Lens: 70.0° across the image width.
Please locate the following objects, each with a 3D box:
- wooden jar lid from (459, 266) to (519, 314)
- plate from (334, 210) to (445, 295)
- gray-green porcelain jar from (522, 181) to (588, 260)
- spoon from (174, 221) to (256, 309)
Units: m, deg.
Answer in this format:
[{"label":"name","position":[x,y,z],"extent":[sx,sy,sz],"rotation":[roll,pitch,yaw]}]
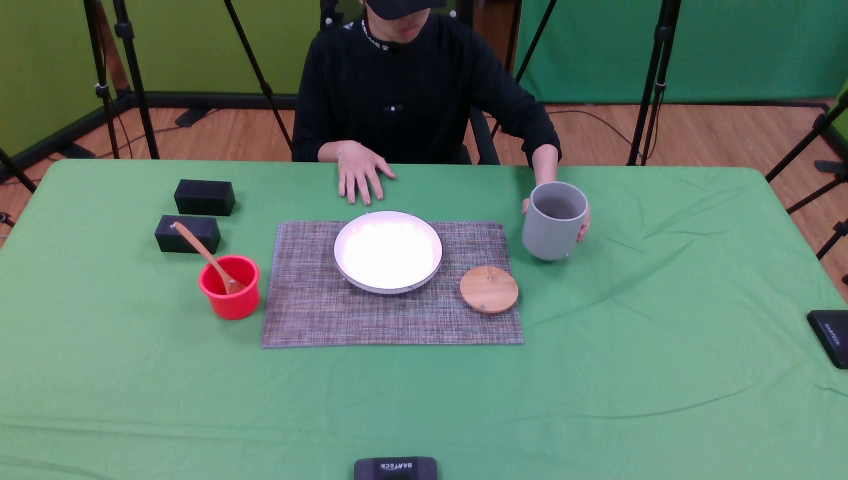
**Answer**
[{"label":"wooden jar lid","position":[0.118,0.093,1.111],"extent":[0.108,0.021,0.107],"rotation":[2,47,-1]},{"label":"plate","position":[-0.066,0.026,1.150],"extent":[0.208,0.039,0.206],"rotation":[2,46,-2]},{"label":"gray-green porcelain jar","position":[0.244,-0.032,1.146],"extent":[0.106,0.127,0.105],"rotation":[1,49,-1]},{"label":"spoon","position":[-0.360,0.043,1.044],"extent":[0.194,0.021,0.041],"rotation":[54,51,-14]}]
